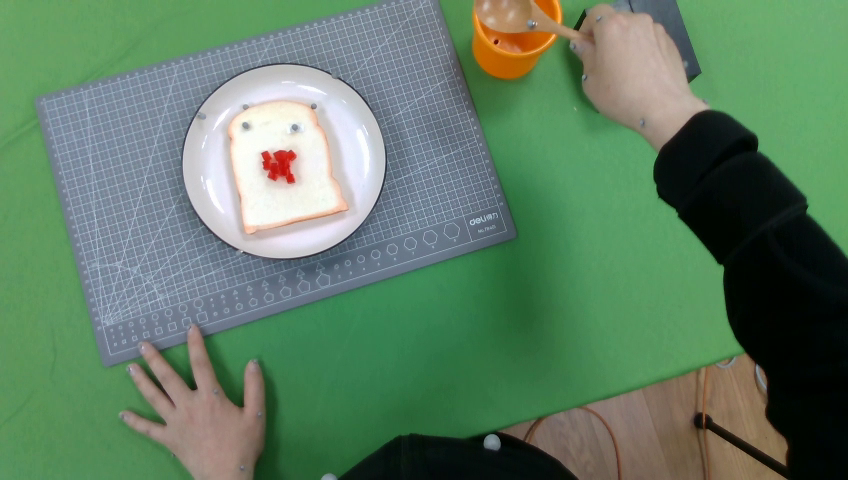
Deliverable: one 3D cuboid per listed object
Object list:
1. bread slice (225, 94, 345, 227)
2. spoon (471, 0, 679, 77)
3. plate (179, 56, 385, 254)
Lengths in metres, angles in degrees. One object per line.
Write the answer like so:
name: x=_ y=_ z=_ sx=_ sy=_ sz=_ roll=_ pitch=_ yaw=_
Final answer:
bread slice: x=-0.153 y=-0.086 z=0.635 sx=0.107 sy=0.018 sz=0.134 roll=-17 pitch=84 yaw=-6
spoon: x=0.127 y=-0.181 z=0.525 sx=0.192 sy=0.021 sz=0.042 roll=30 pitch=112 yaw=18
plate: x=-0.144 y=-0.087 z=0.635 sx=0.209 sy=0.038 sz=0.208 roll=0 pitch=83 yaw=-3
